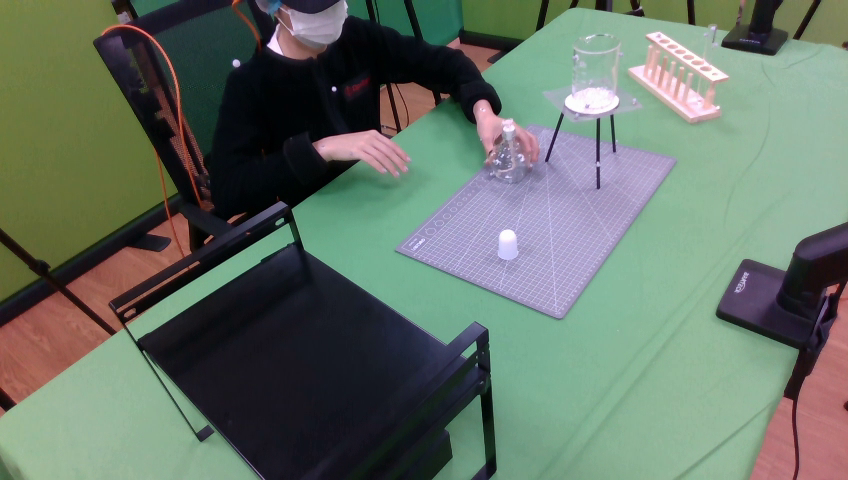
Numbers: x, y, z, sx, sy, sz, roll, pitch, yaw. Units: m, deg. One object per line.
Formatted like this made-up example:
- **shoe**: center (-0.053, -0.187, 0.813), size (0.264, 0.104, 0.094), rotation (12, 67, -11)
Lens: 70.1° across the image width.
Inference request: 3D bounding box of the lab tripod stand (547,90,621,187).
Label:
- **lab tripod stand**: center (0.289, -0.184, 1.062), size (0.148, 0.132, 0.147), rotation (-6, 41, 6)

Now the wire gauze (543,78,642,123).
- **wire gauze**: center (0.282, -0.234, 1.021), size (0.125, 0.011, 0.120), rotation (-17, 38, -4)

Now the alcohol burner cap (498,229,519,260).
- **alcohol burner cap**: center (0.131, 0.004, 0.938), size (0.034, 0.048, 0.033), rotation (-4, 40, 4)

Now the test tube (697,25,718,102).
- **test tube**: center (0.546, -0.337, 1.166), size (0.017, 0.151, 0.017), rotation (-5, 36, 4)

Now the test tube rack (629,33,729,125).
- **test tube rack**: center (0.516, -0.337, 1.247), size (0.067, 0.085, 0.240), rotation (-14, 41, -7)

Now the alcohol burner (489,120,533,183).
- **alcohol burner**: center (0.154, -0.162, 1.073), size (0.078, 0.119, 0.077), rotation (-5, 42, 5)

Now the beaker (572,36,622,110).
- **beaker**: center (0.279, -0.274, 0.992), size (0.074, 0.101, 0.083), rotation (-14, 40, -5)
